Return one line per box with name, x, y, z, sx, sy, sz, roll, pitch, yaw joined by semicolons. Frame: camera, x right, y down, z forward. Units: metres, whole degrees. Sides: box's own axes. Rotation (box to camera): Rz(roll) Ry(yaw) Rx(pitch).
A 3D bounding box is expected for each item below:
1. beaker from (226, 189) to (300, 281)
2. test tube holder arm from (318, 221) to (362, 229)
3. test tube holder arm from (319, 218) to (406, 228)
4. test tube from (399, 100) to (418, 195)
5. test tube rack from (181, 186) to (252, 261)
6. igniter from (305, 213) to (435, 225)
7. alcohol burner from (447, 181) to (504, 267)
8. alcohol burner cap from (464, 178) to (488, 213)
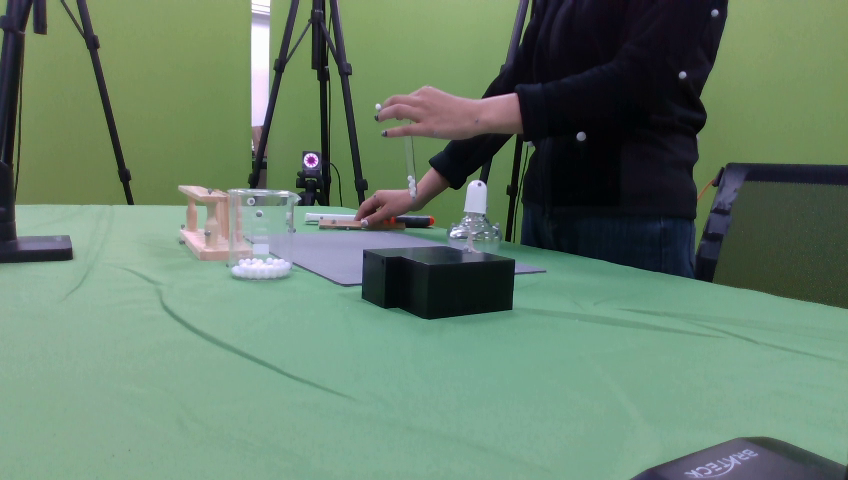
beaker;-0.184;-0.007;0.694;0.084;0.100;0.073;-1;8;-29
test tube holder arm;-0.166;-0.031;1.203;0.088;0.015;0.010;1;-22;-20
test tube holder arm;-0.121;-0.032;1.214;0.179;0.015;0.013;1;-22;-20
test tube;-0.024;-0.145;0.953;0.017;0.150;0.017;-6;1;0
test tube rack;-0.312;-0.031;0.893;0.067;0.085;0.241;-1;8;-27
igniter;-0.114;-0.046;1.299;0.277;0.025;0.057;1;-3;-12
alcohol burner;0.070;-0.024;0.828;0.078;0.119;0.078;0;6;0
alcohol burner cap;0.073;-0.060;0.824;0.034;0.048;0.034;6;4;0
